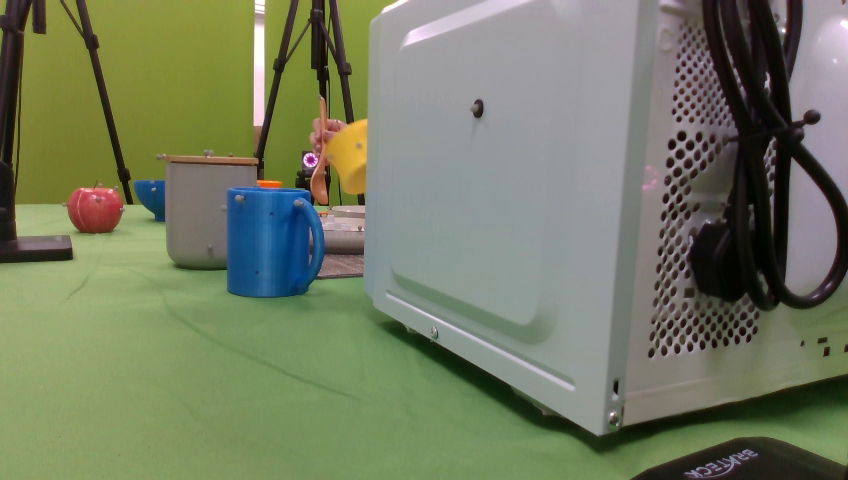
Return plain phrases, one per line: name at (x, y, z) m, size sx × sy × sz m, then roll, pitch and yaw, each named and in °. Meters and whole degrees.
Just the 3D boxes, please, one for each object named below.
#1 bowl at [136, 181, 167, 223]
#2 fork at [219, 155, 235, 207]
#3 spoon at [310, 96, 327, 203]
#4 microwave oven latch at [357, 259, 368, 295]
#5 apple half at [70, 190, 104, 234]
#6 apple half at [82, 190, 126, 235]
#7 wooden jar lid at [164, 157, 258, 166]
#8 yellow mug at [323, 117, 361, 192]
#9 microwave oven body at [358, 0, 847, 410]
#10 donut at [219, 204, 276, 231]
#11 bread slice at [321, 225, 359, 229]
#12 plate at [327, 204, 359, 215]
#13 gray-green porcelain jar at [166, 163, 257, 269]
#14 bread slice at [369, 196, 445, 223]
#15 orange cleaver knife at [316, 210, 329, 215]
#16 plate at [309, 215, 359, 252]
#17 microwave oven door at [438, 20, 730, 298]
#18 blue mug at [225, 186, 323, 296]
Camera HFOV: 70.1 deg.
bowl at (-0.497, -0.076, 1.221) m, size 0.151 × 0.077 × 0.151 m, roll 2°, pitch 8°, yaw 0°
fork at (-0.459, -0.134, 1.415) m, size 0.028 × 0.018 × 0.207 m, roll -1°, pitch -34°, yaw -24°
spoon at (-0.170, -0.152, 1.001) m, size 0.021 × 0.193 × 0.042 m, roll -8°, pitch -18°, yaw 29°
microwave oven latch at (-0.019, 0.031, 0.529) m, size 0.079 × 0.029 × 0.030 m, roll -1°, pitch 7°, yaw -26°
apple half at (-0.552, -0.048, 1.010) m, size 0.053 × 0.074 × 0.081 m, roll -1°, pitch 10°, yaw 26°
apple half at (-0.516, -0.046, 0.994) m, size 0.032 × 0.081 × 0.081 m, roll 0°, pitch 6°, yaw 26°
wooden jar lid at (-0.261, -0.093, 0.746) m, size 0.108 × 0.020 × 0.108 m, roll 0°, pitch 9°, yaw 0°
yellow mug at (-0.080, -0.134, 0.880) m, size 0.130 × 0.064 × 0.100 m, roll -41°, pitch -20°, yaw 34°
microwave oven body at (0.210, -0.051, 0.471) m, size 0.444 × 0.260 × 0.324 m, roll -1°, pitch 7°, yaw -28°
donut at (-0.316, -0.039, 1.083) m, size 0.099 × 0.048 × 0.099 m, roll 3°, pitch 7°, yaw 0°
bread slice at (-0.124, -0.009, 0.938) m, size 0.131 × 0.019 × 0.105 m, roll 5°, pitch 8°, yaw 32°
plate at (-0.102, -0.053, 1.299) m, size 0.209 × 0.038 × 0.209 m, roll 2°, pitch 7°, yaw 0°
gray-green porcelain jar at (-0.263, -0.031, 0.754) m, size 0.106 × 0.126 × 0.106 m, roll 2°, pitch 7°, yaw 0°
bread slice at (-0.040, -0.057, 1.142) m, size 0.107 × 0.018 × 0.133 m, roll -8°, pitch -8°, yaw -40°
orange cleaver knife at (-0.259, -0.064, 1.423) m, size 0.212 × 0.012 × 0.077 m, roll -4°, pitch 3°, yaw -30°
plate at (-0.130, -0.011, 0.945) m, size 0.208 × 0.039 × 0.207 m, roll 2°, pitch 8°, yaw 0°
microwave oven door at (0.181, -0.076, 0.618) m, size 0.358 × 0.243 × 0.039 m, roll -2°, pitch 8°, yaw -28°
blue mug at (-0.148, 0.000, 0.618) m, size 0.116 × 0.106 × 0.083 m, roll 7°, pitch 9°, yaw 33°
